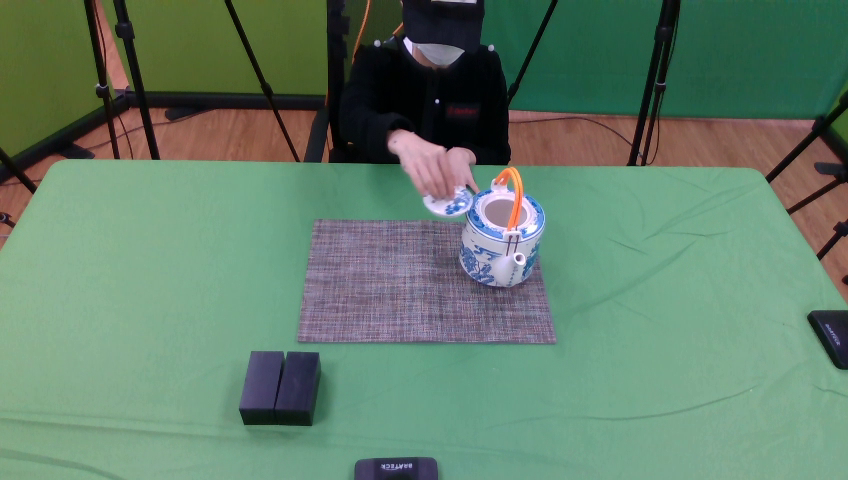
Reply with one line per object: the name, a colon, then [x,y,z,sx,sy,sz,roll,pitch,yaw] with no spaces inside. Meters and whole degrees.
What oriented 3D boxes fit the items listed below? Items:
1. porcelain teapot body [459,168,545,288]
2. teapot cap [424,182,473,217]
porcelain teapot body: [0.146,-0.006,1.070,0.145,0.226,0.204,-4,46,-8]
teapot cap: [0.043,-0.075,1.042,0.085,0.044,0.084,4,46,-4]
